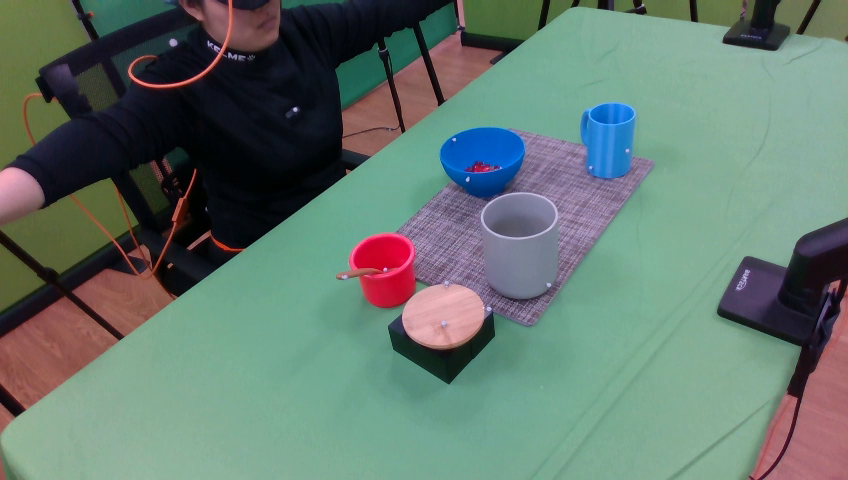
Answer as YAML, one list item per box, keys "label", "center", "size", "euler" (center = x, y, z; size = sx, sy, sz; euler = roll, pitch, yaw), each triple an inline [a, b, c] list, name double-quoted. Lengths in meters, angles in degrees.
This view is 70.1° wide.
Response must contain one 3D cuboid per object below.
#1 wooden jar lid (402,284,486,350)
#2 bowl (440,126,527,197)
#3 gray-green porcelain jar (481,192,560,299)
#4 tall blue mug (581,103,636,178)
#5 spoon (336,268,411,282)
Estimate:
- label: "wooden jar lid"
  center: [0.026, 0.101, 0.786]
  size: [0.108, 0.021, 0.108]
  euler: [-5, 39, 4]
- label: "bowl"
  center: [0.107, -0.130, 1.070]
  size: [0.151, 0.077, 0.150]
  euler: [-5, 40, 5]
- label: "gray-green porcelain jar"
  center: [0.138, 0.012, 0.858]
  size: [0.106, 0.127, 0.105]
  euler: [-6, 40, 5]
- label: "tall blue mug"
  center: [0.313, -0.178, 1.062]
  size: [0.106, 0.108, 0.078]
  euler: [21, 50, 31]
- label: "spoon"
  center: [-0.071, 0.047, 0.850]
  size: [0.041, 0.195, 0.021]
  euler: [18, 93, 24]
